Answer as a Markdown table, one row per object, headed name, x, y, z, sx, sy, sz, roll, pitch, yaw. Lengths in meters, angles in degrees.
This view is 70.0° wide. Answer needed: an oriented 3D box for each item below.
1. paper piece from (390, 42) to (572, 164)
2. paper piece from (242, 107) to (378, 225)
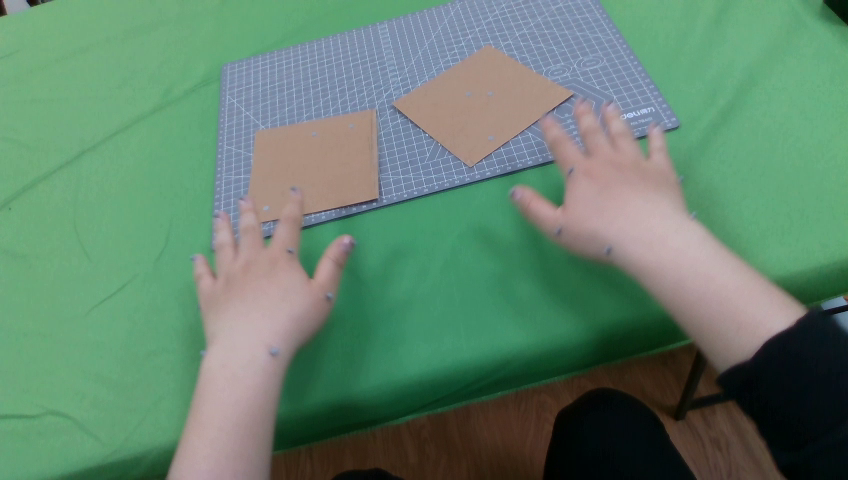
| name | x | y | z | sx | sy | sz | roll | pitch | yaw |
| --- | --- | --- | --- | --- | --- | --- | --- | --- | --- |
| paper piece | 0.056 | -0.147 | 0.622 | 0.135 | 0.004 | 0.134 | -36 | 54 | -14 |
| paper piece | -0.114 | -0.079 | 0.612 | 0.138 | 0.009 | 0.134 | -10 | 49 | 6 |
